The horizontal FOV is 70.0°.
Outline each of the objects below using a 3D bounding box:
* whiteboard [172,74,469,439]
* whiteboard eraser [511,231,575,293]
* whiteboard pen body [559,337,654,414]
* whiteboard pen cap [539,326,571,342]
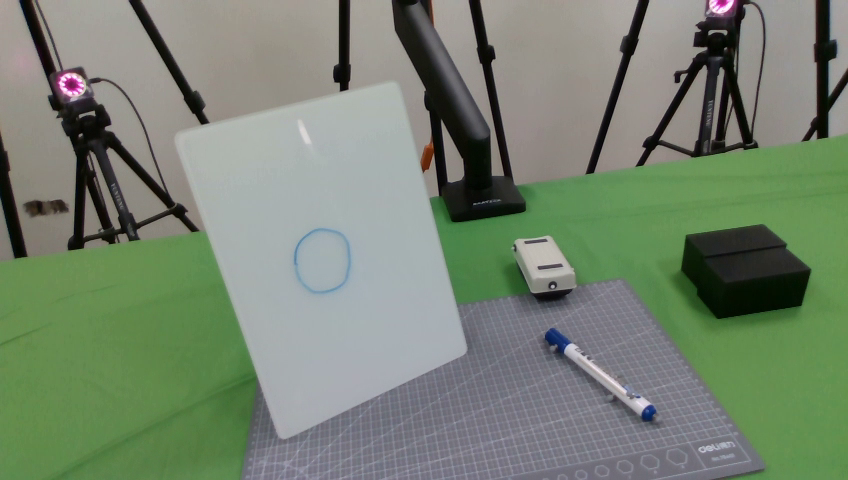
[{"bbox_3d":[-0.110,0.007,0.649,0.217,0.307,0.143,-21,14,-22],"label":"whiteboard"},{"bbox_3d":[0.149,0.028,0.769,0.055,0.042,0.111,-10,27,-1],"label":"whiteboard eraser"},{"bbox_3d":[0.175,0.129,0.614,0.017,0.017,0.139,-21,33,-23],"label":"whiteboard pen body"},{"bbox_3d":[0.143,0.102,0.660,0.033,0.018,0.018,2,31,17],"label":"whiteboard pen cap"}]
